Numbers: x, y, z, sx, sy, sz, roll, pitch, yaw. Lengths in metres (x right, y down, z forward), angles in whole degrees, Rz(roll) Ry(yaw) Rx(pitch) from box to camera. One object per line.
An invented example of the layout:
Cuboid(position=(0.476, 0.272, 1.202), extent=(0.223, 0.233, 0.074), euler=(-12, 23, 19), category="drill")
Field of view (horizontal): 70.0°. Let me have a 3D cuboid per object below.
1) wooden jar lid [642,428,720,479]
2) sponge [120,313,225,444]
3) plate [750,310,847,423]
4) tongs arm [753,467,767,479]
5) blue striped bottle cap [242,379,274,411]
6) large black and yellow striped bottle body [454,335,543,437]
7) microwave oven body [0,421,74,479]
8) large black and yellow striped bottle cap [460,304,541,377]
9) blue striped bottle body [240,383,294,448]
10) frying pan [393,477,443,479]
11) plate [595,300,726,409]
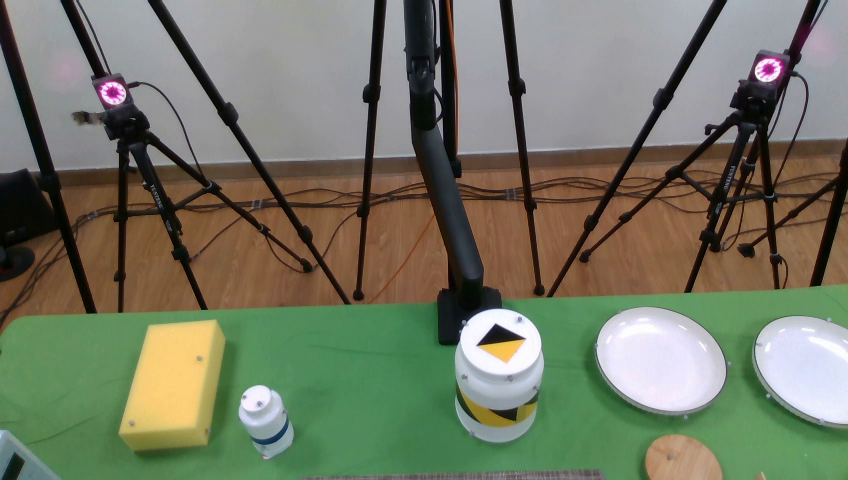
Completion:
Cuboid(position=(0.377, 0.331, 0.892), extent=(0.108, 0.021, 0.107), euler=(-2, 47, 2), category="wooden jar lid")
Cuboid(position=(-0.409, 0.225, 1.003), extent=(0.118, 0.061, 0.204), euler=(-5, 47, -3), category="sponge")
Cuboid(position=(0.639, 0.206, 0.986), extent=(0.209, 0.038, 0.207), euler=(-2, 46, 2), category="plate")
Cuboid(position=(0.490, 0.458, 0.703), extent=(0.051, 0.027, 0.381), euler=(-6, 58, -7), category="tongs arm")
Cuboid(position=(-0.242, 0.225, 0.882), extent=(0.044, 0.021, 0.044), euler=(-1, 48, 2), category="blue striped bottle cap")
Cuboid(position=(0.110, 0.199, 0.918), extent=(0.131, 0.186, 0.129), euler=(-1, 46, 2), category="large black and yellow striped bottle body")
Cuboid(position=(-0.643, 0.451, 0.652), extent=(0.326, 0.262, 0.437), euler=(-1, 47, 1), category="microwave oven body")
Cuboid(position=(0.108, 0.140, 0.858), extent=(0.115, 0.019, 0.114), euler=(-1, 47, 2), category="large black and yellow striped bottle cap")
Cuboid(position=(-0.239, 0.261, 0.918), extent=(0.063, 0.122, 0.062), euler=(-1, 46, 2), category="blue striped bottle body")
Cuboid(position=(-0.078, 0.497, 0.691), extent=(0.304, 0.103, 0.488), euler=(30, 46, 29), category="frying pan")
Cuboid(position=(0.390, 0.192, 1.014), extent=(0.207, 0.039, 0.205), euler=(-2, 46, 2), category="plate")
